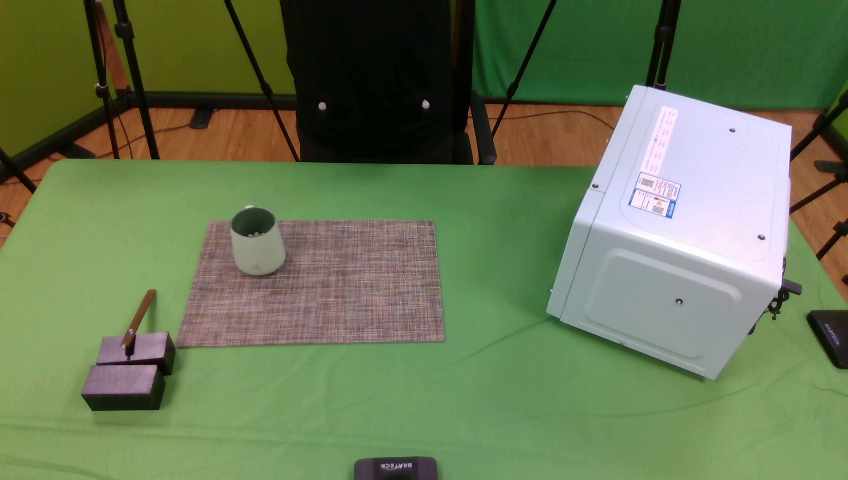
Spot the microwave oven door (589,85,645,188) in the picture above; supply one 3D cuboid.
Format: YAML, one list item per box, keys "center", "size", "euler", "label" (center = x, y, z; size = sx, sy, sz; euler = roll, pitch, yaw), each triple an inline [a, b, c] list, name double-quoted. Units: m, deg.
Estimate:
- center: [0.342, -0.107, 1.149]
  size: [0.039, 0.245, 0.354]
  euler: [20, 48, 15]
  label: "microwave oven door"

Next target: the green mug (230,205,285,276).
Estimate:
- center: [-0.311, -0.008, 1.118]
  size: [0.092, 0.105, 0.124]
  euler: [-14, 49, -16]
  label: "green mug"

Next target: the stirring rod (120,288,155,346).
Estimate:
- center: [-0.474, 0.125, 1.008]
  size: [0.014, 0.006, 0.175]
  euler: [-5, 26, -8]
  label: "stirring rod"

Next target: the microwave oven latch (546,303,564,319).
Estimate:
- center: [0.242, 0.102, 1.081]
  size: [0.030, 0.029, 0.079]
  euler: [21, 48, 17]
  label: "microwave oven latch"

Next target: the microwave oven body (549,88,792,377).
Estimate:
- center: [0.456, -0.028, 1.088]
  size: [0.325, 0.261, 0.440]
  euler: [20, 47, 16]
  label: "microwave oven body"
